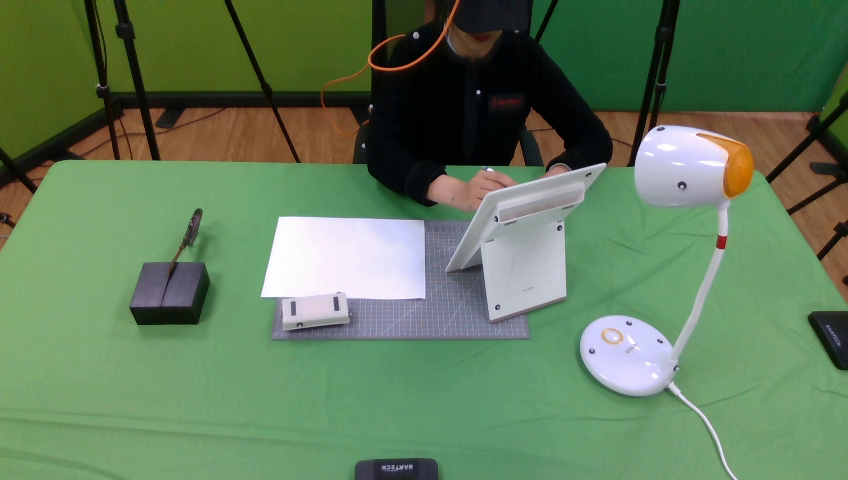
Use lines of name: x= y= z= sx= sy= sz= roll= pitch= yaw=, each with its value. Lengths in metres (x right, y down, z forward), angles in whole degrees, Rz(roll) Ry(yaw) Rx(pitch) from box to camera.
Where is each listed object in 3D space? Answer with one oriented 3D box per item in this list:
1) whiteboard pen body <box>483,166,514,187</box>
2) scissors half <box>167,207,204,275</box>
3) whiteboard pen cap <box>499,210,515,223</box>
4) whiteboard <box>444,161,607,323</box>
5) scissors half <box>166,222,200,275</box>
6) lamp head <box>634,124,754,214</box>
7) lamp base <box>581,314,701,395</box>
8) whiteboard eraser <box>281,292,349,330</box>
whiteboard pen body: x=0.154 y=-0.093 z=1.072 sx=0.017 sy=0.017 sz=0.140 roll=-26 pitch=48 yaw=-26
scissors half: x=-0.436 y=0.000 z=1.104 sx=0.013 sy=0.040 sz=0.174 roll=21 pitch=44 yaw=-14
whiteboard pen cap: x=0.169 y=-0.049 z=1.245 sx=0.033 sy=0.018 sz=0.018 roll=26 pitch=49 yaw=2
whiteboard: x=0.186 y=0.025 z=1.029 sx=0.217 sy=0.306 sz=0.143 roll=-14 pitch=68 yaw=-18
scissors half: x=-0.444 y=0.015 z=1.116 sx=0.013 sy=0.040 sz=0.174 roll=17 pitch=27 yaw=-11
lamp head: x=0.351 y=-0.089 z=0.776 sx=0.112 sy=0.113 sz=0.122 roll=-30 pitch=30 yaw=-28
lamp base: x=0.361 y=0.145 z=0.973 sx=0.178 sy=0.181 sz=0.160 roll=34 pitch=53 yaw=23
whiteboard eraser: x=-0.189 y=0.124 z=1.045 sx=0.113 sy=0.042 sz=0.055 roll=-6 pitch=46 yaw=-10
